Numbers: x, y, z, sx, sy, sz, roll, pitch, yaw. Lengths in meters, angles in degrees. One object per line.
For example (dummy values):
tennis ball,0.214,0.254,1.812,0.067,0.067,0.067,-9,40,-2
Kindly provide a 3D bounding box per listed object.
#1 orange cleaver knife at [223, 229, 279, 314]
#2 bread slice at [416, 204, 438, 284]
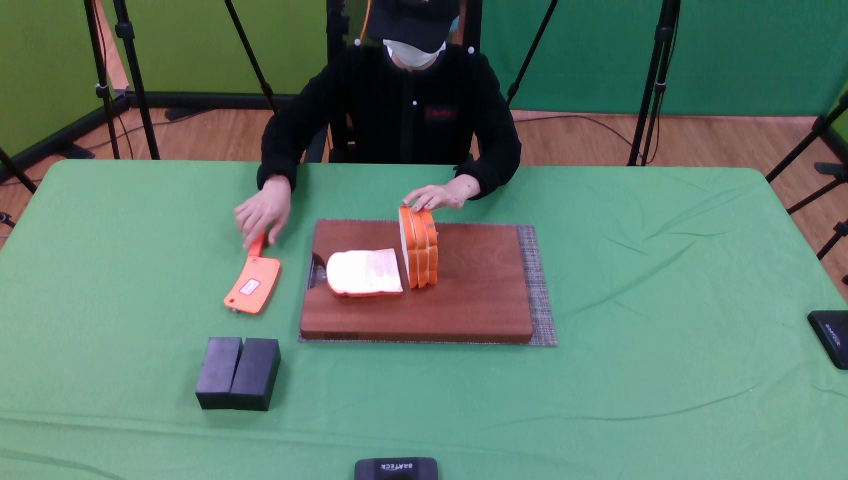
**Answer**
orange cleaver knife,-0.311,0.055,1.125,0.077,0.012,0.210,3,44,2
bread slice,0.005,0.003,1.078,0.018,0.135,0.106,-11,53,-8
